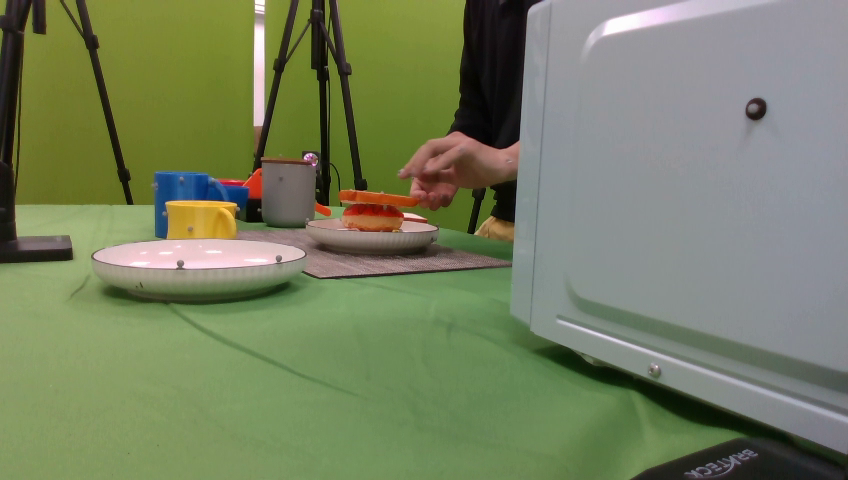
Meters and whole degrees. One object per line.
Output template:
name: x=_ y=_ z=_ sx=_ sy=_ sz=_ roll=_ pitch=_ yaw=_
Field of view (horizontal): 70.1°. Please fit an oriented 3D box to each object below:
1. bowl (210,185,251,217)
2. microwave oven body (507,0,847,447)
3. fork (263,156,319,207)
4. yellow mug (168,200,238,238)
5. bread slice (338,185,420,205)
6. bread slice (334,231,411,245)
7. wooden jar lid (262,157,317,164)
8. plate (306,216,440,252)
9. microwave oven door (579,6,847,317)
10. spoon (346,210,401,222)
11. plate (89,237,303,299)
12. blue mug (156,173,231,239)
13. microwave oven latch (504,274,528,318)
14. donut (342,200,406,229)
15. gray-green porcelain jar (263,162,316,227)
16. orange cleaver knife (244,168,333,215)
bowl: x=-0.408 y=-0.064 z=1.155 sx=0.151 sy=0.077 sz=0.151 roll=2 pitch=8 yaw=0
microwave oven body: x=0.331 y=-0.042 z=0.425 sx=0.444 sy=0.260 sz=0.324 roll=-2 pitch=8 yaw=-31
fork: x=-0.331 y=-0.144 z=1.505 sx=0.207 sy=0.018 sz=0.028 roll=-42 pitch=-21 yaw=22
yellow mug: x=-0.320 y=-0.023 z=0.904 sx=0.130 sy=0.064 sz=0.100 roll=9 pitch=10 yaw=36
bread slice: x=-0.080 y=-0.069 z=0.937 sx=0.107 sy=0.018 sz=0.134 roll=6 pitch=0 yaw=-22
bread slice: x=-0.075 y=-0.004 z=0.937 sx=0.105 sy=0.019 sz=0.131 roll=0 pitch=3 yaw=-20
wooden jar lid: x=-0.269 y=-0.154 z=1.208 sx=0.108 sy=0.020 sz=0.108 roll=3 pitch=4 yaw=0
plate: x=-0.080 y=-0.011 z=0.949 sx=0.209 sy=0.038 sz=0.209 roll=2 pitch=7 yaw=0
microwave oven door: x=0.294 y=-0.067 z=0.570 sx=0.358 sy=0.243 sz=0.039 roll=-3 pitch=9 yaw=-31
spoon: x=-0.121 y=-0.060 z=1.400 sx=0.042 sy=0.021 sz=0.192 roll=-27 pitch=25 yaw=-38
plate: x=-0.233 y=0.029 z=0.637 sx=0.208 sy=0.039 sz=0.207 roll=2 pitch=7 yaw=0
blue mug: x=-0.381 y=-0.057 z=1.004 sx=0.117 sy=0.106 sz=0.082 roll=0 pitch=8 yaw=-12
microwave oven latch: x=0.100 y=0.041 z=0.471 sx=0.079 sy=0.029 sz=0.030 roll=-1 pitch=8 yaw=-28
donut: x=-0.079 y=-0.034 z=0.944 sx=0.099 sy=0.048 sz=0.099 roll=8 pitch=-1 yaw=0
gray-green porcelain jar: x=-0.271 y=-0.092 z=1.217 sx=0.106 sy=0.126 sz=0.106 roll=2 pitch=7 yaw=0
orange cleaver knife: x=-0.300 y=-0.089 z=1.351 sx=0.212 sy=0.077 sz=0.012 roll=28 pitch=-9 yaw=-34
